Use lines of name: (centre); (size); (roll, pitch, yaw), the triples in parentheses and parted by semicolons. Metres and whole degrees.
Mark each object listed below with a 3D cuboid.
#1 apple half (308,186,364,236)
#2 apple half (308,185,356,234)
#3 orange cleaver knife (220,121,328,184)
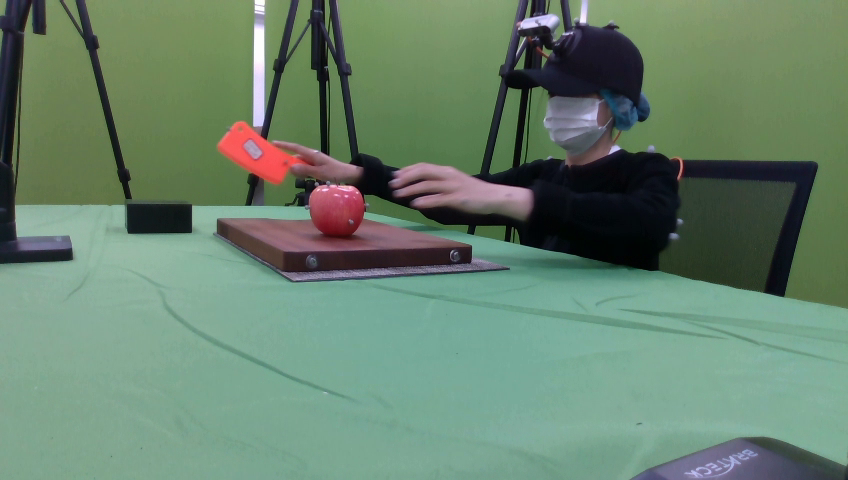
apple half: (-0.123, -0.041, 0.874); (0.081, 0.074, 0.053); (4, 9, -32)
apple half: (-0.143, -0.047, 0.907); (0.082, 0.081, 0.032); (-1, 12, -31)
orange cleaver knife: (-0.271, -0.144, 1.113); (0.212, 0.077, 0.012); (27, -12, -38)
